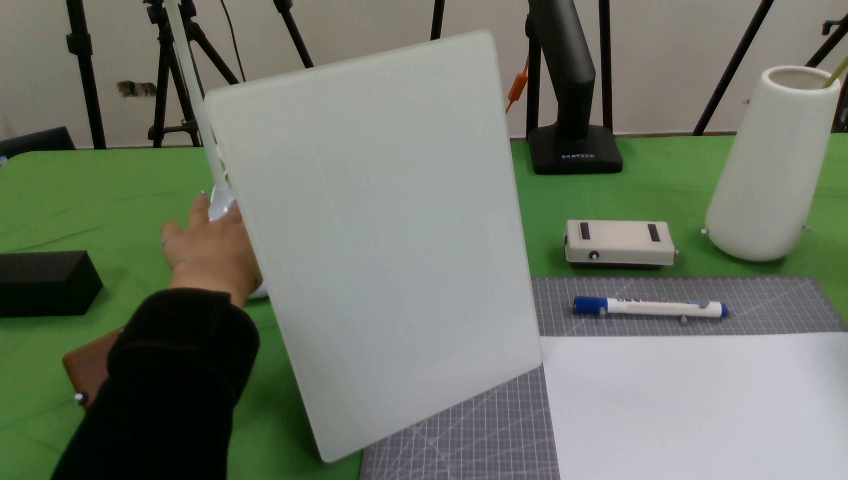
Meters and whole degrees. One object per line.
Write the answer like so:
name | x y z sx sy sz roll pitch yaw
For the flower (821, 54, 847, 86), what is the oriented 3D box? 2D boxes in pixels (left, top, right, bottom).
flower | 0.369 -0.133 0.570 0.044 0.364 0.038 -15 56 -24

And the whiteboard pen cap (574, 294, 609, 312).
whiteboard pen cap | 0.169 0.064 0.611 0.033 0.018 0.018 4 38 5

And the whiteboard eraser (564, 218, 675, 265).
whiteboard eraser | 0.214 0.003 0.671 0.112 0.042 0.055 0 35 7

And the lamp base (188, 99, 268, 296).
lamp base | -0.206 -0.056 0.669 0.177 0.182 0.160 28 47 37

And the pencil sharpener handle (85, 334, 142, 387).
pencil sharpener handle | -0.263 0.098 0.513 0.036 0.068 0.030 -36 47 -23

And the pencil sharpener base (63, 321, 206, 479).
pencil sharpener base | -0.231 0.130 0.488 0.061 0.108 0.076 -29 44 -29

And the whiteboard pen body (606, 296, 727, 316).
whiteboard pen body | 0.228 0.065 0.605 0.140 0.017 0.017 1 38 7

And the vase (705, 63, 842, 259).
vase | 0.364 -0.077 0.632 0.098 0.202 0.097 -2 38 2

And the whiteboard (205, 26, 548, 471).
whiteboard | -0.039 -0.004 0.530 0.217 0.307 0.142 -19 21 -18
